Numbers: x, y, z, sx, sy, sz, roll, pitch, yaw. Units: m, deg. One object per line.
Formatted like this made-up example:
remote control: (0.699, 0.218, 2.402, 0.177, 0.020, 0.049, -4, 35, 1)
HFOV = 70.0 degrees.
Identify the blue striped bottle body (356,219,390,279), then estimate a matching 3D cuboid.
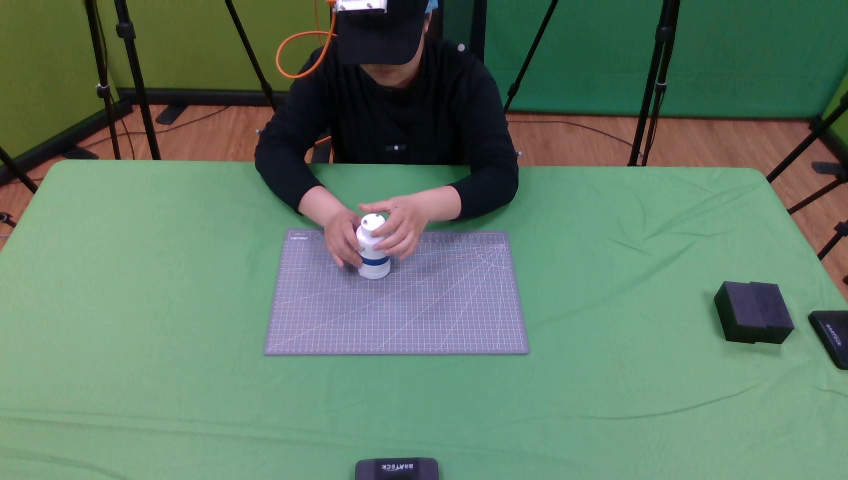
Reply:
blue striped bottle body: (-0.093, 0.010, 1.109, 0.063, 0.121, 0.062, 2, 46, -2)

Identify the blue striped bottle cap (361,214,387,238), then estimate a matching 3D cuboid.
blue striped bottle cap: (-0.089, -0.025, 1.069, 0.044, 0.021, 0.044, -5, 39, 4)
